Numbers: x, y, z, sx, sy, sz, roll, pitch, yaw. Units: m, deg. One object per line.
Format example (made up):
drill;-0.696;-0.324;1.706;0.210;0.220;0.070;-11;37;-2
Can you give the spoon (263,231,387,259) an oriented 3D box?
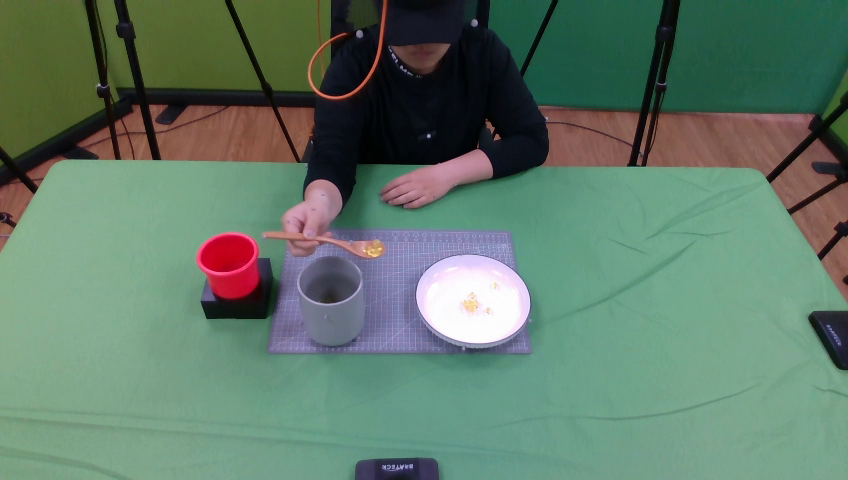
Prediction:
spoon;-0.152;0.002;0.944;0.194;0.022;0.041;11;41;-23

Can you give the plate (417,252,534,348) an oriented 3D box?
plate;0.090;0.109;1.084;0.208;0.039;0.206;2;46;-2

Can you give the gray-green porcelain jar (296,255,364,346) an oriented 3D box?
gray-green porcelain jar;-0.153;0.106;1.008;0.106;0.127;0.105;2;46;-2
